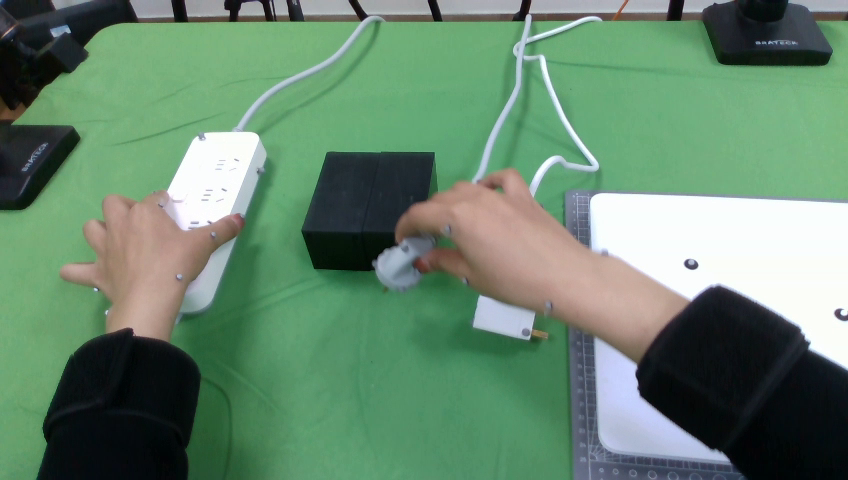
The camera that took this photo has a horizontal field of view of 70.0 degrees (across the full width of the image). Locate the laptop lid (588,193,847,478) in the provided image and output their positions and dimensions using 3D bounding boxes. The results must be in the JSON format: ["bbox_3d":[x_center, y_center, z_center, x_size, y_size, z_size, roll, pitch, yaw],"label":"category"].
[{"bbox_3d":[0.302,0.057,0.439,0.356,0.013,0.239,5,51,9],"label":"laptop lid"}]

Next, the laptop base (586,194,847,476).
[{"bbox_3d":[0.303,0.064,0.449,0.354,0.023,0.233,3,52,8],"label":"laptop base"}]

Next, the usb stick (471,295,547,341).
[{"bbox_3d":[0.067,0.061,0.463,0.059,0.021,0.027,17,86,3],"label":"usb stick"}]

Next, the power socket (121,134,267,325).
[{"bbox_3d":[-0.206,-0.024,0.564,0.072,0.033,0.224,2,48,6],"label":"power socket"}]

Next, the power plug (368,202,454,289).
[{"bbox_3d":[-0.015,0.001,0.432,0.035,0.073,0.053,28,21,21],"label":"power plug"}]
